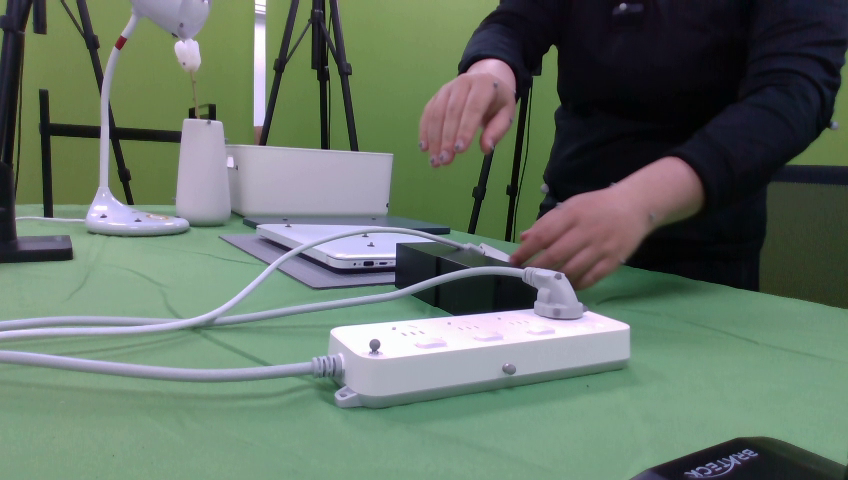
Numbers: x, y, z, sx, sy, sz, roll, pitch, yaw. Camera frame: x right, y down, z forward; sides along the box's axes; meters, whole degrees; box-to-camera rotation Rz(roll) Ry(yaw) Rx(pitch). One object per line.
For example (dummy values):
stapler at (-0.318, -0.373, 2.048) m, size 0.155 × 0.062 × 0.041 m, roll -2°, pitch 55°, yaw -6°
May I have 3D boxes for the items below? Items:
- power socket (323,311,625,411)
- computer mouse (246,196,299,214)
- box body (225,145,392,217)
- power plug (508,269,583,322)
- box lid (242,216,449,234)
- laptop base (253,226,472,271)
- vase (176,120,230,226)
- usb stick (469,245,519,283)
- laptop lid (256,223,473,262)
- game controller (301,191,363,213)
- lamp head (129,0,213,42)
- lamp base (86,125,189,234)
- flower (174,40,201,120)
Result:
power socket at (0.040, 0.075, 0.410) m, size 0.228 × 0.032 × 0.072 m, roll -2°, pitch 8°, yaw -27°
computer mouse at (-0.354, -0.083, 1.418) m, size 0.117 × 0.041 × 0.063 m, roll 0°, pitch 10°, yaw 7°
box body at (-0.289, -0.143, 1.475) m, size 0.366 × 0.160 × 0.253 m, roll -1°, pitch 9°, yaw -29°
power plug at (0.094, 0.051, 0.470) m, size 0.035 × 0.052 × 0.072 m, roll -1°, pitch 6°, yaw -15°
box lid at (-0.162, -0.030, 1.233) m, size 0.373 × 0.015 × 0.262 m, roll -1°, pitch 8°, yaw -32°
laptop base at (-0.096, 0.011, 0.912) m, size 0.237 × 0.023 × 0.352 m, roll 2°, pitch 6°, yaw -32°
vase at (-0.424, -0.128, 1.159) m, size 0.098 × 0.200 × 0.098 m, roll 2°, pitch 9°, yaw 0°
usb stick at (0.081, 0.029, 0.672) m, size 0.059 × 0.021 × 0.027 m, roll 26°, pitch 23°, yaw -27°
laptop lid at (-0.092, 0.000, 0.912) m, size 0.243 × 0.013 × 0.355 m, roll 1°, pitch 7°, yaw -30°
game controller at (-0.240, -0.098, 1.550) m, size 0.155 × 0.051 × 0.097 m, roll 3°, pitch 9°, yaw 5°
lamp head at (-0.423, -0.394, 0.980) m, size 0.123 × 0.112 × 0.112 m, roll 20°, pitch 7°, yaw -3°
lamp base at (-0.497, -0.105, 1.027) m, size 0.179 × 0.180 × 0.160 m, roll 1°, pitch 7°, yaw 3°
flower at (-0.430, -0.211, 1.165) m, size 0.044 × 0.361 × 0.038 m, roll -10°, pitch -5°, yaw -22°
